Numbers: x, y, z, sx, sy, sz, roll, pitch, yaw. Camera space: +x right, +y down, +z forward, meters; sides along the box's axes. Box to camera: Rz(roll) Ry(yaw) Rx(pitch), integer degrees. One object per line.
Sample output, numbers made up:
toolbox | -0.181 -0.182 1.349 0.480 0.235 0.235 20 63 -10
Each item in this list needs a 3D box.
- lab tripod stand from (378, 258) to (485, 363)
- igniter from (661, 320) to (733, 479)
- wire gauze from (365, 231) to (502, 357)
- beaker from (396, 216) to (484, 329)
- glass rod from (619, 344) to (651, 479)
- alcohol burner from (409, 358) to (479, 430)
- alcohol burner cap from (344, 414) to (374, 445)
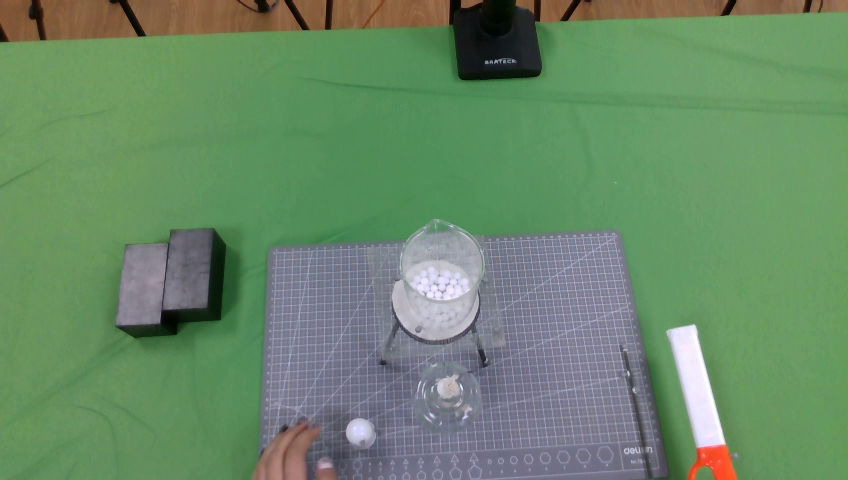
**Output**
lab tripod stand | 0.008 0.080 0.666 0.148 0.132 0.147 0 66 1
igniter | 0.295 0.221 0.632 0.057 0.025 0.274 -16 67 25
wire gauze | 0.008 0.052 0.606 0.125 0.011 0.120 -7 66 -2
beaker | 0.013 0.035 0.561 0.074 0.101 0.083 -6 66 -3
glass rod | 0.242 0.215 0.684 0.008 0.008 0.198 -3 67 -3
alcohol burner | 0.021 0.160 0.645 0.078 0.120 0.077 0 66 0
alcohol burner cap | -0.072 0.205 0.663 0.034 0.048 0.033 0 68 -1
